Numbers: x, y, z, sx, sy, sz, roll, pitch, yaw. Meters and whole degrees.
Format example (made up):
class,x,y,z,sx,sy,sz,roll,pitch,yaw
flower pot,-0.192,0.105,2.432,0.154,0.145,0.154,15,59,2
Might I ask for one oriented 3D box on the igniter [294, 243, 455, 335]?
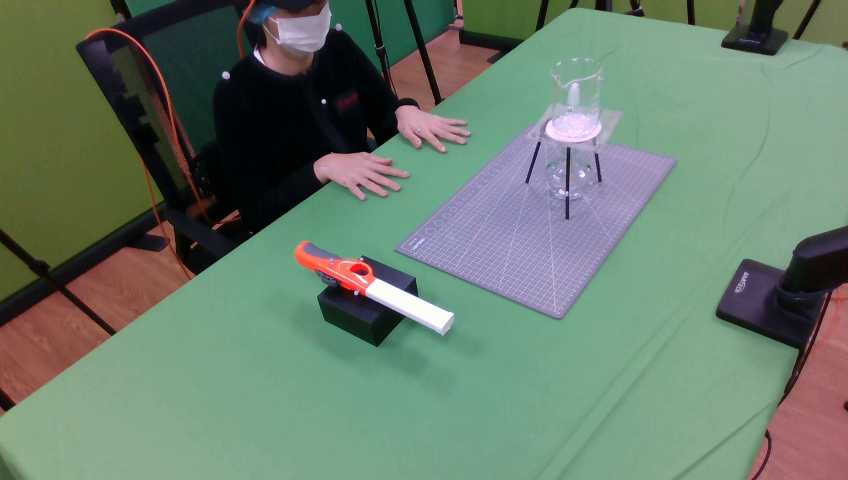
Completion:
class,x,y,z,sx,sy,sz,roll,pitch,yaw
igniter,-0.079,0.062,0.837,0.274,0.025,0.057,22,49,27

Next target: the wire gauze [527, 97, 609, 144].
class,x,y,z,sx,sy,sz,roll,pitch,yaw
wire gauze,0.225,-0.187,0.945,0.121,0.011,0.124,4,45,12

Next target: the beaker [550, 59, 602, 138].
class,x,y,z,sx,sy,sz,roll,pitch,yaw
beaker,0.230,-0.212,0.922,0.073,0.101,0.084,16,46,31

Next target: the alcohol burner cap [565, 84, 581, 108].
class,x,y,z,sx,sy,sz,roll,pitch,yaw
alcohol burner cap,0.315,-0.307,1.278,0.034,0.048,0.033,-5,42,5

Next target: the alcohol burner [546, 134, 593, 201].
class,x,y,z,sx,sy,sz,roll,pitch,yaw
alcohol burner,0.243,-0.126,1.011,0.078,0.119,0.077,-5,42,5

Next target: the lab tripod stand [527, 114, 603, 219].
class,x,y,z,sx,sy,sz,roll,pitch,yaw
lab tripod stand,0.234,-0.129,1.002,0.148,0.132,0.147,-6,40,6
